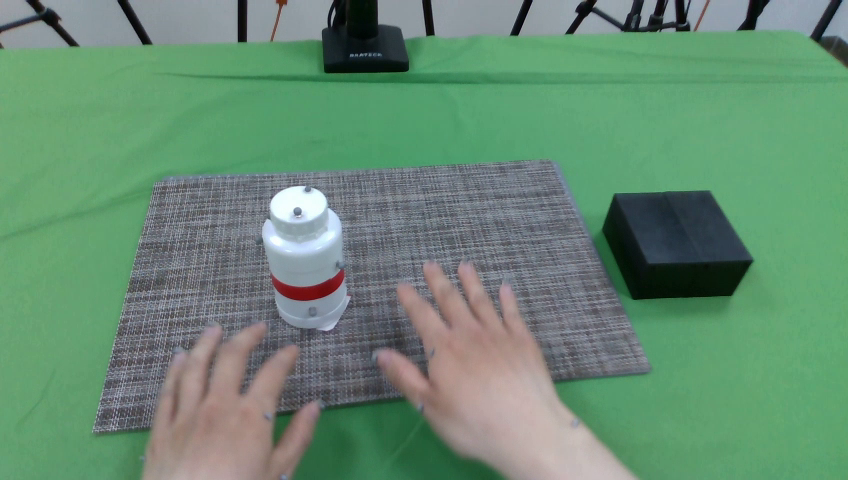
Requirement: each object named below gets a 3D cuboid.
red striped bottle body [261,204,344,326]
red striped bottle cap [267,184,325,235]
[{"bbox_3d":[-0.101,0.013,0.511,0.063,0.121,0.062,2,45,-2],"label":"red striped bottle body"},{"bbox_3d":[-0.100,-0.025,0.473,0.044,0.018,0.044,4,44,-4],"label":"red striped bottle cap"}]
